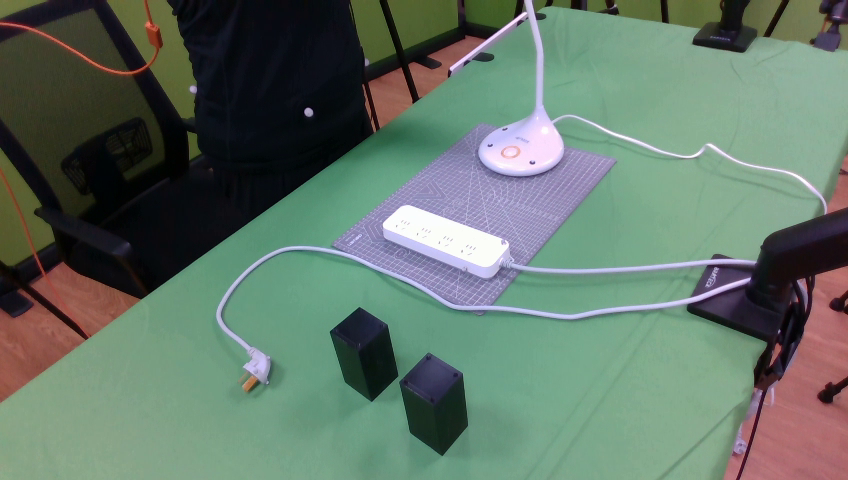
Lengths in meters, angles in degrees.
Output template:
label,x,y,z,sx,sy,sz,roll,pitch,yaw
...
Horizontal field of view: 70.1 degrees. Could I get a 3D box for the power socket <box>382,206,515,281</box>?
label,x,y,z,sx,sy,sz,roll,pitch,yaw
power socket,0.032,0.002,0.950,0.225,0.033,0.072,21,49,29

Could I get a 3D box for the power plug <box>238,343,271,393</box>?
label,x,y,z,sx,sy,sz,roll,pitch,yaw
power plug,-0.230,0.172,0.801,0.072,0.035,0.053,9,51,50

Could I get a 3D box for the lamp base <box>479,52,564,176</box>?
label,x,y,z,sx,sy,sz,roll,pitch,yaw
lamp base,0.181,-0.235,1.094,0.159,0.181,0.179,18,44,27
